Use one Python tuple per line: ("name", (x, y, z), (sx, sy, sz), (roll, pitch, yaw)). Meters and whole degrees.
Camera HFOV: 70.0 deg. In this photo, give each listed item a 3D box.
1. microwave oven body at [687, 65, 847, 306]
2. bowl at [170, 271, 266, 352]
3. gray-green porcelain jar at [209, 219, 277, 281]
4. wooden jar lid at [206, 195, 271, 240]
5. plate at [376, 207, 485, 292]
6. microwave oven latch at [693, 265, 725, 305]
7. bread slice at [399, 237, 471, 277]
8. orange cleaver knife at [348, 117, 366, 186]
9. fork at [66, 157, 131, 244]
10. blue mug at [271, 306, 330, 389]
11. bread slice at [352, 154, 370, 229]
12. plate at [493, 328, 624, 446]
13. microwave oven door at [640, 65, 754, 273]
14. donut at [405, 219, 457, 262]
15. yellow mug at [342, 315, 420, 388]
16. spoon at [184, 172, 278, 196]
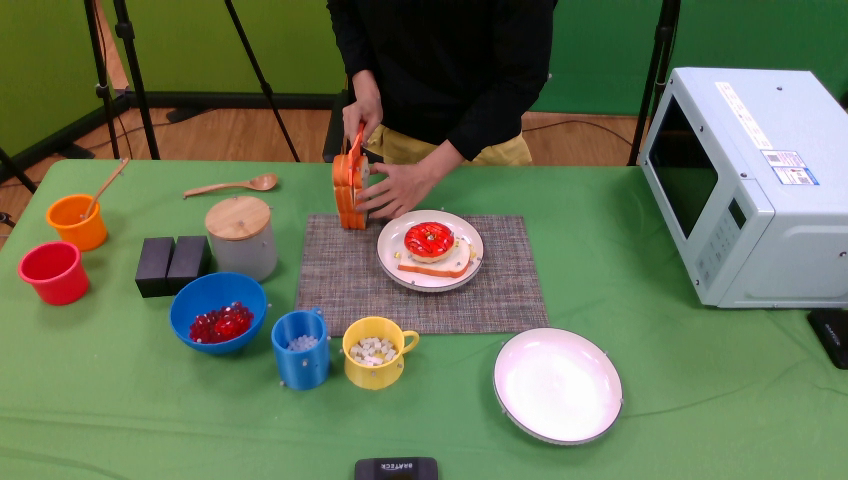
("microwave oven body", (0.669, -0.111, 1.176), (0.326, 0.261, 0.439), (0, 46, -3))
("bowl", (-0.334, 0.132, 1.006), (0.151, 0.077, 0.150), (2, 46, -2))
("gray-green porcelain jar", (-0.323, 0.007, 1.092), (0.106, 0.127, 0.105), (2, 46, -2))
("wooden jar lid", (-0.319, -0.036, 1.046), (0.108, 0.021, 0.107), (1, 44, 0))
("plate", (0.012, 0.021, 1.159), (0.209, 0.038, 0.208), (2, 47, -2))
("microwave oven latch", (0.523, 0.082, 1.115), (0.030, 0.029, 0.078), (2, 46, -1))
("bread slice", (0.025, 0.025, 1.161), (0.131, 0.019, 0.104), (7, 47, 8))
("orange cleaver knife", (-0.134, -0.182, 1.218), (0.012, 0.077, 0.210), (3, 34, 2))
("fork", (-0.608, -0.074, 1.132), (0.207, 0.019, 0.028), (-52, 48, 10))
("blue mug", (-0.188, 0.163, 0.969), (0.082, 0.106, 0.116), (15, 47, 10))
("bread slice", (-0.126, -0.103, 1.207), (0.018, 0.135, 0.106), (5, 48, 3))
("plate", (0.213, 0.236, 0.974), (0.208, 0.039, 0.206), (2, 46, -2))
("microwave oven door", (0.523, -0.147, 1.193), (0.039, 0.245, 0.353), (0, 47, -3))
("donut", (0.012, -0.001, 1.140), (0.099, 0.048, 0.098), (0, 44, 0))
("yellow mug", (-0.068, 0.177, 0.990), (0.131, 0.064, 0.099), (-15, 50, -19))
("spoon", (-0.405, -0.116, 1.275), (0.194, 0.022, 0.041), (-8, 66, -12))
